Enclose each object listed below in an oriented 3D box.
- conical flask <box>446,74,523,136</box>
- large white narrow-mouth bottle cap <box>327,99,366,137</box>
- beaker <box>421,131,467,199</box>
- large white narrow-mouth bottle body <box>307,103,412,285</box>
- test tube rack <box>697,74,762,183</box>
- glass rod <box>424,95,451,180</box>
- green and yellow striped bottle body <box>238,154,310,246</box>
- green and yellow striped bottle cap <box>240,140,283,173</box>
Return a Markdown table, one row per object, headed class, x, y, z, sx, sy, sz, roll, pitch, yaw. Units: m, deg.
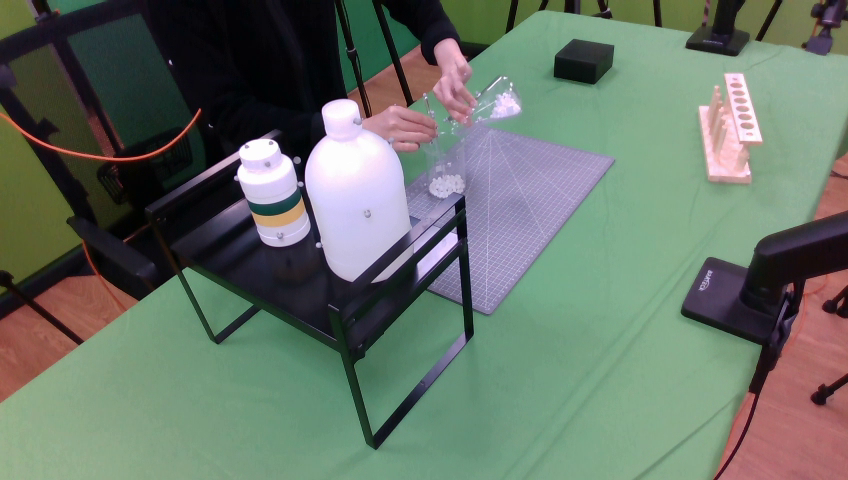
| class | x | y | z | sx | sy | sz | roll | pitch | yaw |
| --- | --- | --- | --- | --- | --- | --- | --- | --- | --- |
| conical flask | 0.099 | -0.220 | 1.020 | 0.122 | 0.076 | 0.074 | -30 | 43 | -1 |
| large white narrow-mouth bottle cap | -0.075 | -0.118 | 0.582 | 0.038 | 0.024 | 0.037 | -3 | 40 | 3 |
| beaker | 0.040 | -0.130 | 1.060 | 0.084 | 0.100 | 0.073 | -24 | 43 | -20 |
| large white narrow-mouth bottle body | -0.070 | -0.051 | 0.638 | 0.102 | 0.195 | 0.101 | -3 | 40 | 3 |
| test tube rack | 0.547 | -0.208 | 1.094 | 0.066 | 0.085 | 0.242 | 5 | 42 | 15 |
| glass rod | 0.025 | -0.167 | 1.020 | 0.008 | 0.201 | 0.008 | -7 | 53 | 11 |
| green and yellow striped bottle body | -0.178 | -0.056 | 0.714 | 0.063 | 0.120 | 0.063 | -4 | 40 | 4 |
| green and yellow striped bottle cap | -0.183 | -0.094 | 0.679 | 0.045 | 0.020 | 0.045 | -5 | 38 | 4 |
